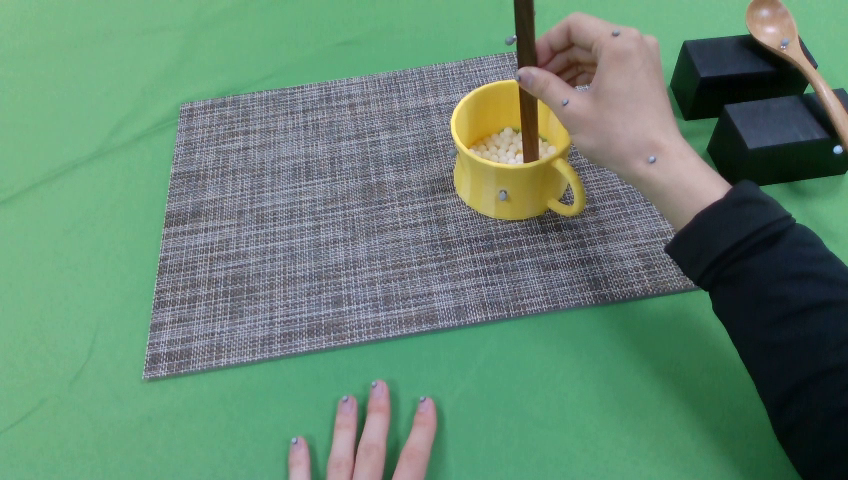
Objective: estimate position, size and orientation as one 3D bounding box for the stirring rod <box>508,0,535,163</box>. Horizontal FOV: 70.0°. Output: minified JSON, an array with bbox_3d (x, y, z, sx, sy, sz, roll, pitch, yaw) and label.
[{"bbox_3d":[0.074,-0.116,0.453,0.014,0.178,0.006,10,54,20],"label":"stirring rod"}]

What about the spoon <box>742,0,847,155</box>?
[{"bbox_3d":[0.310,-0.132,0.490,0.041,0.022,0.191,-9,57,-2],"label":"spoon"}]

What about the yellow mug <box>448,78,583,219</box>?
[{"bbox_3d":[0.080,-0.067,0.494,0.100,0.064,0.129,-35,60,-19],"label":"yellow mug"}]
